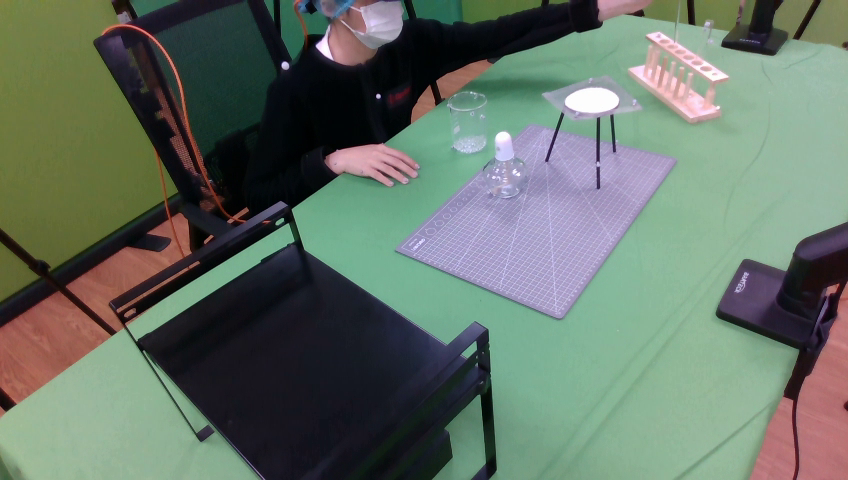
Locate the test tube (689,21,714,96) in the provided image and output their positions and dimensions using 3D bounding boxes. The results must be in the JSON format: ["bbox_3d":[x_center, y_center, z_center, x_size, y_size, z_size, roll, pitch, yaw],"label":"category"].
[{"bbox_3d":[0.541,-0.353,1.184,0.017,0.151,0.017,-2,40,2],"label":"test tube"}]

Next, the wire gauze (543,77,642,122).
[{"bbox_3d":[0.282,-0.236,1.020,0.125,0.011,0.120,-15,40,-6],"label":"wire gauze"}]

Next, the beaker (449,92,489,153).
[{"bbox_3d":[0.092,-0.228,1.177,0.073,0.101,0.084,15,45,24],"label":"beaker"}]

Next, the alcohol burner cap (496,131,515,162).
[{"bbox_3d":[0.135,-0.160,1.019,0.034,0.048,0.033,-7,38,6],"label":"alcohol burner cap"}]

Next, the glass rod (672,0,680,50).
[{"bbox_3d":[0.509,-0.469,1.211,0.008,0.200,0.008,-6,36,5],"label":"glass rod"}]

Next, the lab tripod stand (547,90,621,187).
[{"bbox_3d":[0.289,-0.184,1.062,0.148,0.132,0.147,-6,41,6],"label":"lab tripod stand"}]

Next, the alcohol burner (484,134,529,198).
[{"bbox_3d":[0.141,-0.133,1.041,0.078,0.119,0.077,-5,42,5],"label":"alcohol burner"}]

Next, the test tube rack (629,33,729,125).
[{"bbox_3d":[0.516,-0.337,1.247,0.067,0.085,0.240,-14,41,-7],"label":"test tube rack"}]
